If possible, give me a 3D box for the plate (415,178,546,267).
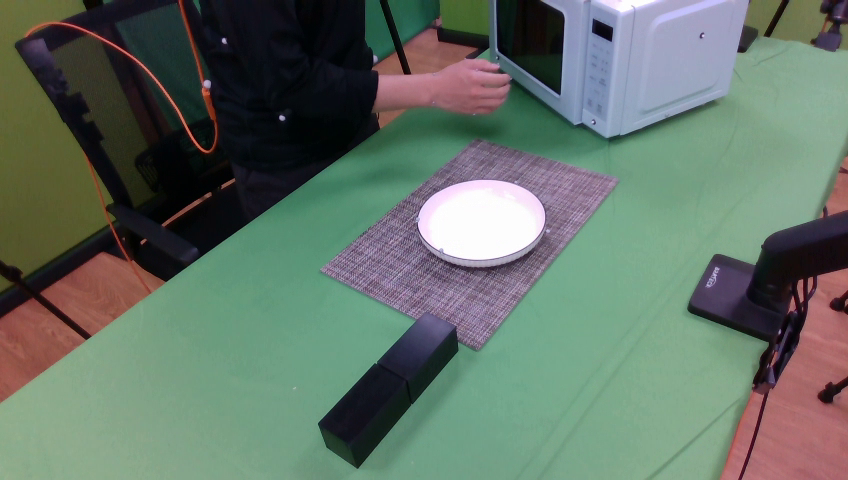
[{"bbox_3d":[0.091,-0.026,0.970,0.207,0.039,0.206,-4,41,4],"label":"plate"}]

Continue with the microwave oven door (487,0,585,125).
[{"bbox_3d":[0.224,-0.417,1.229,0.039,0.245,0.352,-20,42,-14],"label":"microwave oven door"}]

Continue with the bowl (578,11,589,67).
[{"bbox_3d":[0.343,-0.418,1.278,0.151,0.077,0.150,-1,41,1],"label":"bowl"}]

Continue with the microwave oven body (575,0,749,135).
[{"bbox_3d":[0.382,-0.444,1.246,0.327,0.261,0.437,-22,42,-16],"label":"microwave oven body"}]

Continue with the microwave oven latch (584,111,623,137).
[{"bbox_3d":[0.337,-0.222,1.142,0.030,0.029,0.078,-21,42,-14],"label":"microwave oven latch"}]
